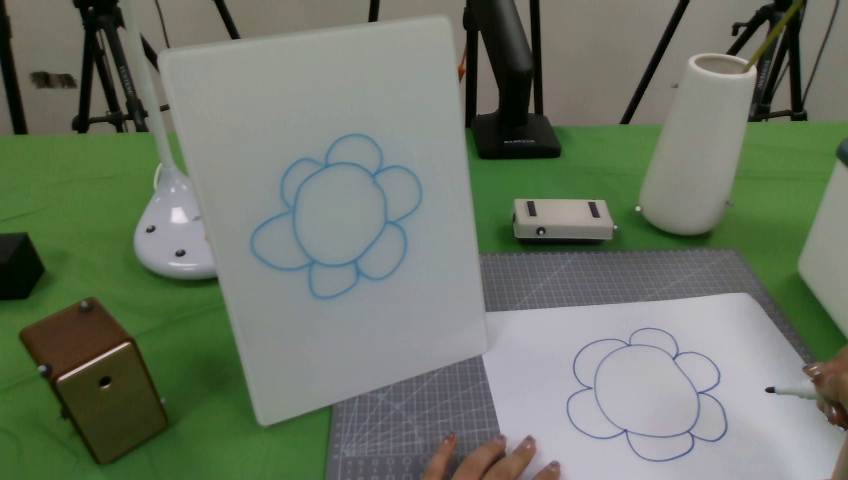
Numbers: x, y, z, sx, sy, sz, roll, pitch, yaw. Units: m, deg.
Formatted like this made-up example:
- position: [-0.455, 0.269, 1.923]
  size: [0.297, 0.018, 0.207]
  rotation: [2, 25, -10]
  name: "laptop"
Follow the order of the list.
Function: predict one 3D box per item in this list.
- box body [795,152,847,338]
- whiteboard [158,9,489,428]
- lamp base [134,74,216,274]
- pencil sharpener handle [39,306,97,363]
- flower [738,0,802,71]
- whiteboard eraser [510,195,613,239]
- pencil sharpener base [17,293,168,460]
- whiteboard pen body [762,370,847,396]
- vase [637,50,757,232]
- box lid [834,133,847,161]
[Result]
- position: [0.526, 0.066, 0.500]
  size: [0.254, 0.162, 0.360]
  rotation: [-1, 38, -1]
  name: "box body"
- position: [-0.081, -0.030, 0.544]
  size: [0.218, 0.307, 0.142]
  rotation: [-14, 21, -17]
  name: "whiteboard"
- position: [-0.259, -0.080, 0.661]
  size: [0.177, 0.182, 0.160]
  rotation: [25, 44, 31]
  name: "lamp base"
- position: [-0.295, 0.074, 0.500]
  size: [0.030, 0.068, 0.036]
  rotation: [31, 55, 33]
  name: "pencil sharpener handle"
- position: [0.323, -0.165, 0.630]
  size: [0.044, 0.364, 0.038]
  rotation: [-17, 59, -31]
  name: "flower"
- position: [0.160, -0.026, 0.713]
  size: [0.113, 0.042, 0.055]
  rotation: [-1, 36, 0]
  name: "whiteboard eraser"
- position: [-0.260, 0.107, 0.479]
  size: [0.076, 0.108, 0.061]
  rotation: [31, 47, 33]
  name: "pencil sharpener base"
- position: [0.286, 0.088, 0.380]
  size: [0.140, 0.017, 0.017]
  rotation: [-19, 16, 47]
  name: "whiteboard pen body"
- position: [0.312, -0.108, 0.692]
  size: [0.098, 0.201, 0.097]
  rotation: [1, 38, -1]
  name: "vase"
- position: [0.525, 0.008, 0.452]
  size: [0.263, 0.015, 0.367]
  rotation: [0, 37, -1]
  name: "box lid"
